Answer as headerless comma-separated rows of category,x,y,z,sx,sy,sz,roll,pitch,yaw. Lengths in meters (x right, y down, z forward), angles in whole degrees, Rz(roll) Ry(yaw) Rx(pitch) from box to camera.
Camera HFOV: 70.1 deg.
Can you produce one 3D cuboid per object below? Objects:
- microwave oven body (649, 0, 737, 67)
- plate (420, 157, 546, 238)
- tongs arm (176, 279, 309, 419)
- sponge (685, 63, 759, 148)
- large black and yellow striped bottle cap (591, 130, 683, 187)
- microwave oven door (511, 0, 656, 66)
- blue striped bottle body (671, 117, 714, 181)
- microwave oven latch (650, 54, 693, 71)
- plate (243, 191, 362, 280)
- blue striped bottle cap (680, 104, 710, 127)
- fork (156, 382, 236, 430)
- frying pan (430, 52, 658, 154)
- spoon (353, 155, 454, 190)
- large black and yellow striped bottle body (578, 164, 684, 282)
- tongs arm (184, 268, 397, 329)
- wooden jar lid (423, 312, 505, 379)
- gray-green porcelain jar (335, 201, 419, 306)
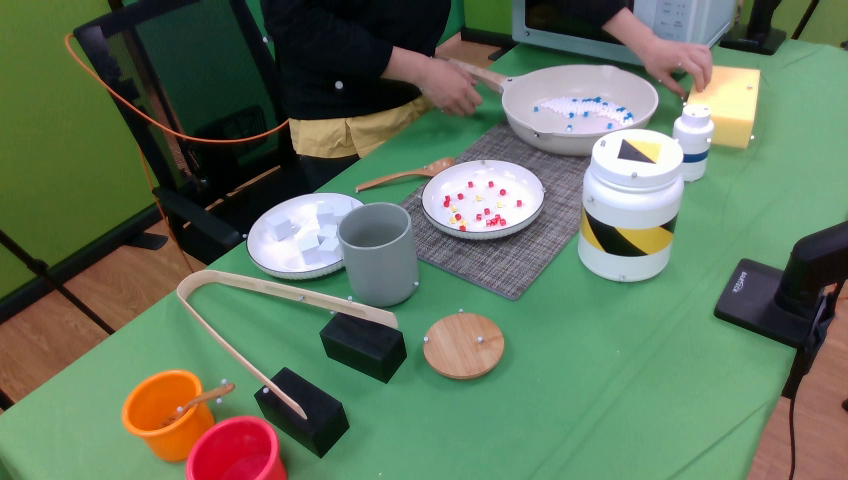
microwave oven body,0.475,-0.602,1.411,0.438,0.261,0.327,23,50,32
plate,0.099,-0.067,1.017,0.209,0.038,0.208,-4,40,4
tongs arm,-0.254,0.133,0.802,0.028,0.028,0.384,-41,41,-23
sponge,0.569,-0.263,1.164,0.117,0.061,0.207,12,45,22
large black and yellow striped bottle cap,0.282,-0.111,0.803,0.115,0.019,0.114,-3,41,3
microwave oven door,0.351,-0.540,1.349,0.353,0.245,0.039,24,50,31
blue striped bottle body,0.449,-0.165,1.022,0.063,0.121,0.063,-5,41,4
microwave oven latch,0.531,-0.386,1.301,0.078,0.029,0.030,25,51,33
plate,-0.188,-0.005,0.992,0.207,0.039,0.206,-4,41,4
blue striped bottle cap,0.443,-0.205,0.989,0.044,0.021,0.044,-1,41,2
fork,-0.262,0.189,0.690,0.018,0.206,0.028,48,43,-7
frying pan,0.215,-0.302,1.224,0.484,0.103,0.308,29,49,23
spoon,-0.038,-0.123,1.116,0.194,0.022,0.041,-12,57,-4
large black and yellow striped bottle body,0.291,-0.046,0.859,0.131,0.185,0.130,-4,41,4
tongs arm,-0.202,0.084,0.848,0.382,0.027,0.051,11,45,35
wooden jar lid,0.053,0.142,0.800,0.108,0.021,0.108,-5,39,4
gray-green porcelain jar,-0.064,0.024,0.872,0.106,0.127,0.105,-4,41,4
